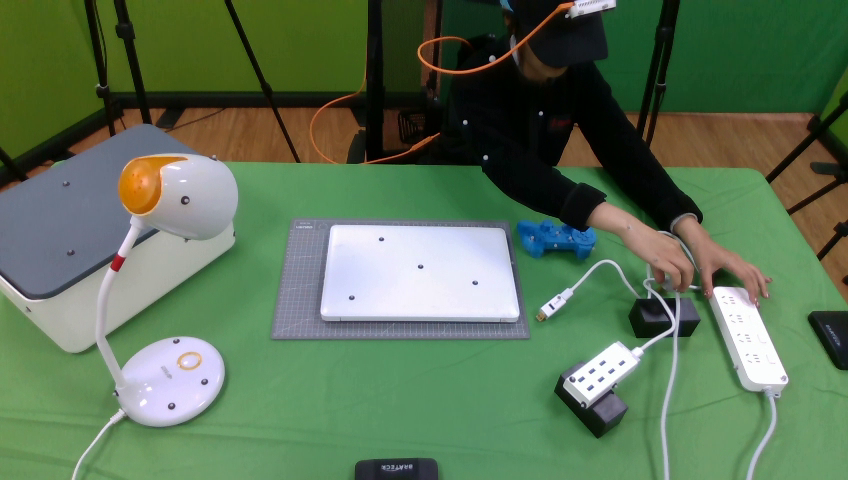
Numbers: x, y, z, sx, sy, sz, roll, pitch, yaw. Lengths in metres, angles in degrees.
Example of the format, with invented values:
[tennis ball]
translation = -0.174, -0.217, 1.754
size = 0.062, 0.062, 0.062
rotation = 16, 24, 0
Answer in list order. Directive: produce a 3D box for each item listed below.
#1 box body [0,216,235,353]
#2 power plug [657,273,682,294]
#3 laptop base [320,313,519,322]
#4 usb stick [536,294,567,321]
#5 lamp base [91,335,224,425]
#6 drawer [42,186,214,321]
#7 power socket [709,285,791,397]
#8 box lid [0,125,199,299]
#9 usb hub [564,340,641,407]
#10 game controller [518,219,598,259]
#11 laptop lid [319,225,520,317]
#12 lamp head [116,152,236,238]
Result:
[box body]
translation = -0.550, -0.007, 1.068
size = 0.253, 0.161, 0.363
rotation = 30, 51, 23
[power plug]
translation = 0.446, 0.085, 1.116
size = 0.035, 0.053, 0.072
rotation = 44, 41, 15
[laptop base]
translation = -0.009, 0.062, 1.138
size = 0.354, 0.023, 0.234
rotation = 1, 42, -3
[usb stick]
translation = 0.226, 0.123, 1.083
size = 0.059, 0.027, 0.021
rotation = -38, 75, -8
[lamp base]
translation = -0.401, 0.170, 0.892
size = 0.160, 0.181, 0.179
rotation = 30, 53, 23
[drawer]
translation = -0.529, 0.018, 1.097
size = 0.194, 0.073, 0.211
rotation = 29, 53, 20
[power socket]
translation = 0.568, 0.167, 1.065
size = 0.072, 0.033, 0.225
rotation = 2, 46, 0
[box lid]
translation = -0.540, -0.068, 1.016
size = 0.262, 0.015, 0.371
rotation = 30, 51, 23
[usb hub]
translation = 0.278, 0.205, 0.944
size = 0.125, 0.025, 0.049
rotation = -27, 52, -28
[game controller]
translation = 0.269, -0.012, 1.210
size = 0.155, 0.052, 0.096
rotation = 1, 50, -2
[laptop lid]
translation = -0.008, 0.052, 1.131
size = 0.357, 0.013, 0.240
rotation = 2, 44, -2
[lamp head]
translation = -0.315, -0.057, 0.748
size = 0.112, 0.112, 0.123
rotation = 26, 10, 20
